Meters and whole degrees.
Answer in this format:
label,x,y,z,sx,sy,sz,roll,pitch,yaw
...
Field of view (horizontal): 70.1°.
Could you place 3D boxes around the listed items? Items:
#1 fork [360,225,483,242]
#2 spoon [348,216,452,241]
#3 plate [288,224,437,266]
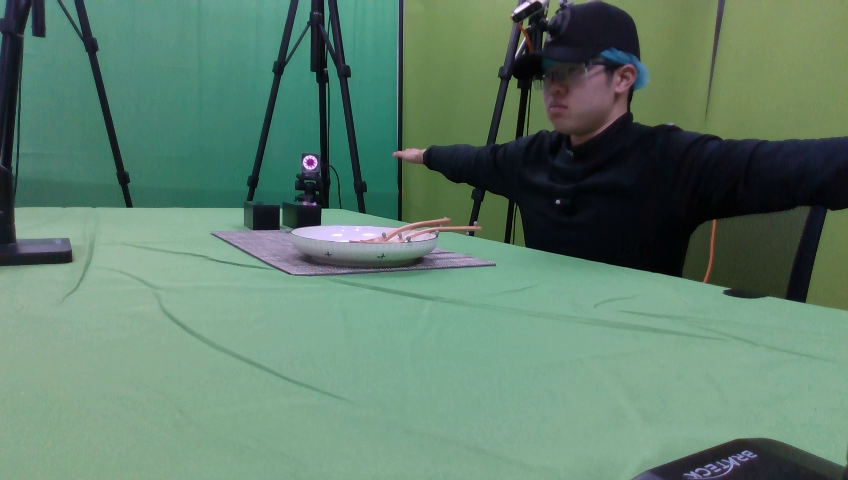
label,x,y,z,sx,sy,sz,roll,pitch,yaw
fork,0.002,-0.009,0.893,0.208,0.018,0.028,-11,9,-30
spoon,-0.030,-0.015,0.923,0.195,0.021,0.041,-19,15,-36
plate,-0.086,0.007,0.852,0.208,0.039,0.207,2,7,0
